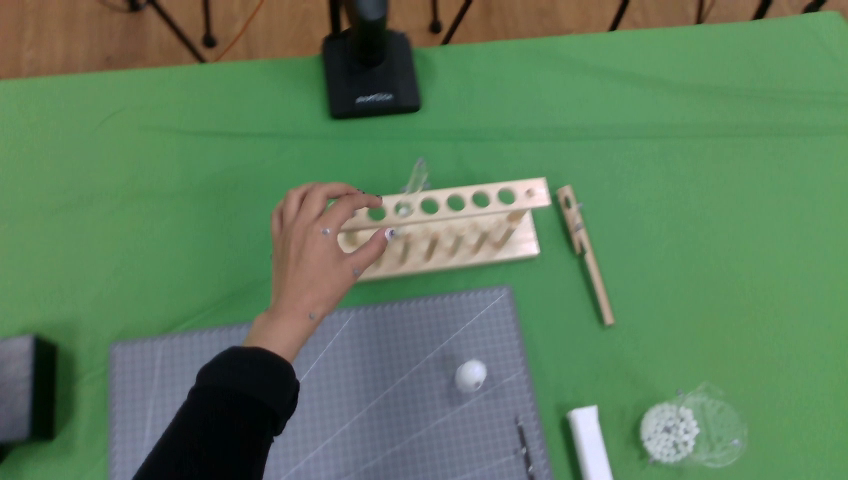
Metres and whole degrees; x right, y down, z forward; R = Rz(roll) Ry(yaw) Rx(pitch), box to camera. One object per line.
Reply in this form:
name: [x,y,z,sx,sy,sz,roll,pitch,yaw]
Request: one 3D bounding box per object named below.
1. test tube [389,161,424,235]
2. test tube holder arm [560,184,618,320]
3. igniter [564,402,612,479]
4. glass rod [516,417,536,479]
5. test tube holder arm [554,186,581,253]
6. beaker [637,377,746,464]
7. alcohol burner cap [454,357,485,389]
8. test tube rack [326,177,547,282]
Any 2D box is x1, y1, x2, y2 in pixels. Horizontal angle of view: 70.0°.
test tube: [-0.021,-0.040,0.649,0.017,0.151,0.017,5,65,-10]
test tube holder arm: [0.200,0.013,0.741,0.013,0.015,0.177,-26,71,23]
igniter: [0.194,0.310,0.628,0.057,0.025,0.274,-4,71,-18]
glass rod: [0.122,0.287,0.636,0.008,0.008,0.198,-8,71,-9]
test tube holder arm: [0.182,-0.026,0.756,0.010,0.015,0.087,-25,72,24]
beaker: [0.276,0.194,0.642,0.074,0.101,0.083,5,68,-4]
alcohol burner cap: [0.052,0.144,0.663,0.034,0.048,0.033,2,70,-5]
test tube rack: [0.015,-0.011,0.695,0.243,0.085,0.066,-8,70,-9]
